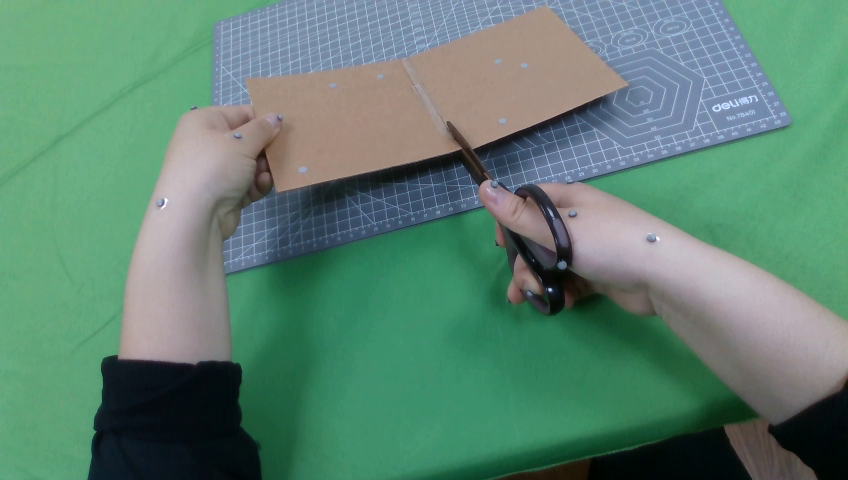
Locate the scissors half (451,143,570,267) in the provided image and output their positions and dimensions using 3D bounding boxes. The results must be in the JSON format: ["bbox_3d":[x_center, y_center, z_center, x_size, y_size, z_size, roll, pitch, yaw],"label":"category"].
[{"bbox_3d":[0.046,-0.039,0.394,0.013,0.040,0.173,-18,35,-12],"label":"scissors half"}]

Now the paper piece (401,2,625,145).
[{"bbox_3d":[0.065,-0.139,0.484,0.135,0.004,0.134,-21,52,-5],"label":"paper piece"}]

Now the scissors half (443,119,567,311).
[{"bbox_3d":[0.048,-0.024,0.410,0.013,0.040,0.173,-22,61,-9],"label":"scissors half"}]

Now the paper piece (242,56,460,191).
[{"bbox_3d":[-0.060,-0.096,0.462,0.138,0.009,0.134,-15,46,-13],"label":"paper piece"}]
